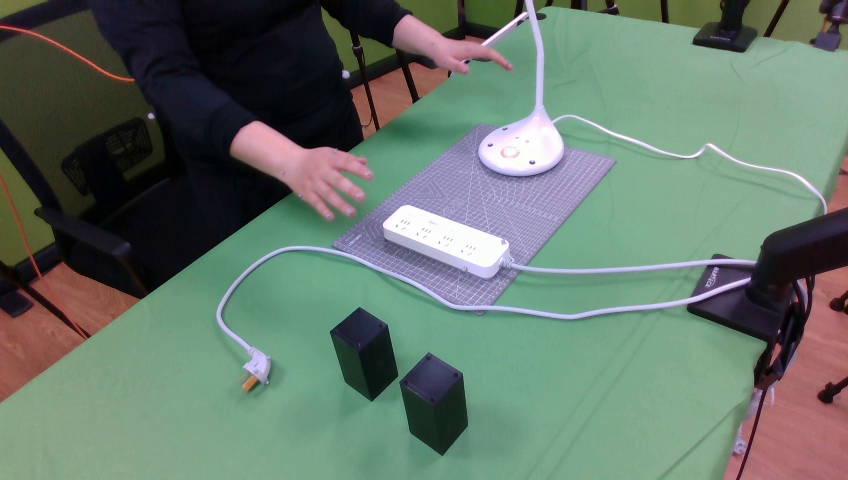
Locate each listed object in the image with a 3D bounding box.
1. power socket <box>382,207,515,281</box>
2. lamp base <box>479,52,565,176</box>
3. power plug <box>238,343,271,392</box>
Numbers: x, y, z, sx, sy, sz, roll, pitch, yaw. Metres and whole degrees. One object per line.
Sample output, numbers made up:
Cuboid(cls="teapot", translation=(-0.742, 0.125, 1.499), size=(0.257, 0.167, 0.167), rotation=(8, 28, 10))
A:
Cuboid(cls="power socket", translation=(0.032, 0.003, 0.950), size=(0.225, 0.033, 0.072), rotation=(21, 49, 29))
Cuboid(cls="lamp base", translation=(0.181, -0.235, 1.093), size=(0.159, 0.181, 0.179), rotation=(18, 44, 27))
Cuboid(cls="power plug", translation=(-0.230, 0.172, 0.801), size=(0.072, 0.035, 0.053), rotation=(9, 50, 49))
